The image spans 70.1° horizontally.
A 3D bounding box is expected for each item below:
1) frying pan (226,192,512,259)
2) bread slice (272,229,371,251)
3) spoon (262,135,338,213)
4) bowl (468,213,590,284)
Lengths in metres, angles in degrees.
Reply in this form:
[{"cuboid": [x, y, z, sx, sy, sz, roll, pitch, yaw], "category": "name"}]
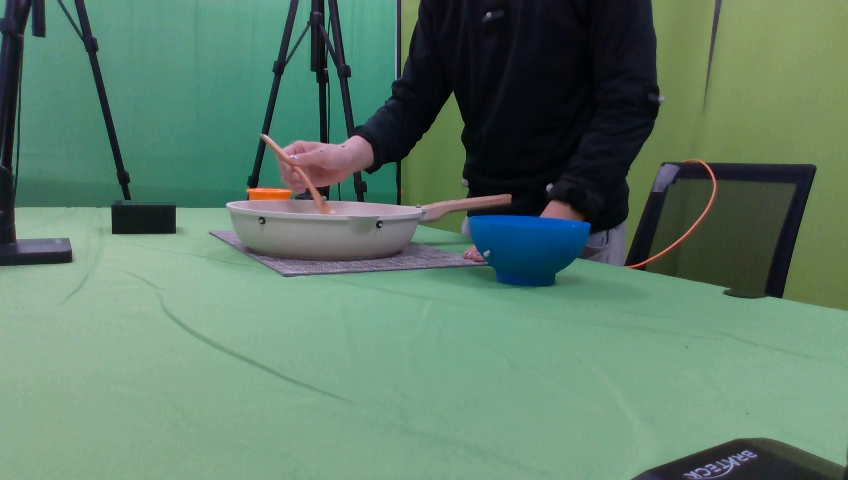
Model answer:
[{"cuboid": [-0.058, -0.041, 0.974, 0.490, 0.102, 0.305, -11, 13, -26], "category": "frying pan"}, {"cuboid": [-0.148, -0.001, 0.929, 0.133, 0.018, 0.107, 7, 9, 38], "category": "bread slice"}, {"cuboid": [-0.186, -0.094, 0.940, 0.021, 0.193, 0.042, -41, -4, 20], "category": "spoon"}, {"cuboid": [0.128, 0.011, 0.755, 0.151, 0.077, 0.151, 2, 7, 0], "category": "bowl"}]
